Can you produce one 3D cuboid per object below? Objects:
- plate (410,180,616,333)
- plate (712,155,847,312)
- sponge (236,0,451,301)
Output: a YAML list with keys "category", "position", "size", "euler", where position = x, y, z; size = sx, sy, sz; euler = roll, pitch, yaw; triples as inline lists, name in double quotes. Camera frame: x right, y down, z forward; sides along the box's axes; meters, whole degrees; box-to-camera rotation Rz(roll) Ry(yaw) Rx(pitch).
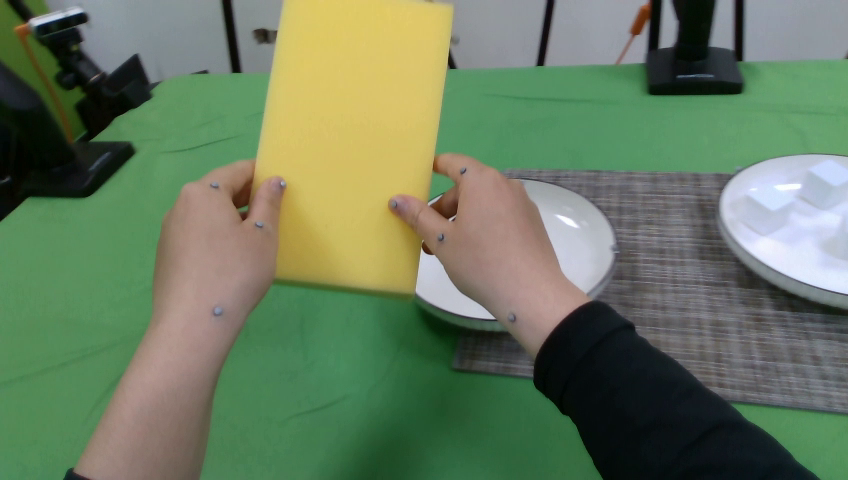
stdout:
- category: "plate"
  position: [0.076, 0.015, 0.581]
  size: [0.209, 0.038, 0.207]
  euler: [-5, 39, 5]
- category: "plate"
  position: [0.371, -0.005, 0.547]
  size: [0.207, 0.039, 0.205]
  euler: [-5, 40, 5]
- category: "sponge"
  position: [-0.054, -0.065, 0.439]
  size: [0.118, 0.061, 0.206]
  euler: [9, 81, -3]
